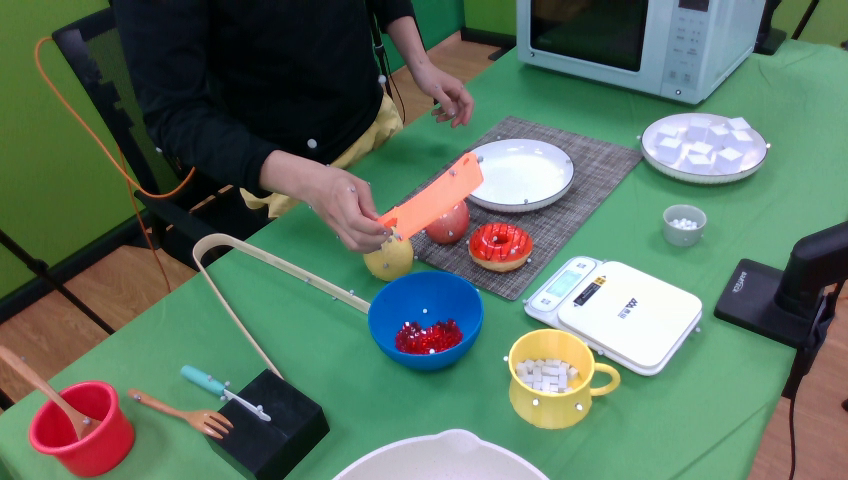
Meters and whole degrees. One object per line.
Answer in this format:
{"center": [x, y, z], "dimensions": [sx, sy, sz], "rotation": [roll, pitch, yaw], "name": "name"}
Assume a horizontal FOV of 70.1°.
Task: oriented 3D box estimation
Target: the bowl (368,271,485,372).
{"center": [0.007, 0.119, 0.791], "dimensions": [0.151, 0.077, 0.150], "rotation": [-5, 39, 4], "name": "bowl"}

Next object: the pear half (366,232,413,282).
{"center": [-0.048, 0.031, 0.893], "dimensions": [0.071, 0.088, 0.031], "rotation": [-16, 40, -13], "name": "pear half"}

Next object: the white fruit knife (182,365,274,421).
{"center": [-0.245, 0.188, 0.747], "dimensions": [0.205, 0.027, 0.016], "rotation": [9, 41, 41], "name": "white fruit knife"}

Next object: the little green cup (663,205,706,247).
{"center": [0.396, -0.020, 0.926], "dimensions": [0.061, 0.039, 0.061], "rotation": [-4, 40, 4], "name": "little green cup"}

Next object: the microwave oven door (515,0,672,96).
{"center": [0.343, -0.454, 1.259], "dimensions": [0.353, 0.245, 0.039], "rotation": [26, 51, 33], "name": "microwave oven door"}

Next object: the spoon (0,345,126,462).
{"center": [-0.434, 0.192, 0.720], "dimensions": [0.194, 0.021, 0.042], "rotation": [47, 53, -7], "name": "spoon"}

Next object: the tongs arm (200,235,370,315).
{"center": [-0.209, 0.062, 0.924], "dimensions": [0.381, 0.026, 0.051], "rotation": [23, 53, 32], "name": "tongs arm"}

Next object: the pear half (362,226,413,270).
{"center": [-0.059, 0.003, 0.913], "dimensions": [0.076, 0.110, 0.055], "rotation": [-14, 40, -12], "name": "pear half"}

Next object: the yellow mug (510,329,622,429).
{"center": [0.168, 0.164, 0.721], "dimensions": [0.130, 0.064, 0.099], "rotation": [0, 40, 8], "name": "yellow mug"}

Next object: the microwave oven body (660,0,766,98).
{"center": [0.472, -0.513, 1.317], "dimensions": [0.438, 0.261, 0.327], "rotation": [26, 51, 34], "name": "microwave oven body"}

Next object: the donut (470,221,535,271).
{"center": [0.119, 0.009, 0.923], "dimensions": [0.099, 0.048, 0.098], "rotation": [-3, 39, 3], "name": "donut"}

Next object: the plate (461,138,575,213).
{"center": [0.159, -0.111, 1.063], "dimensions": [0.209, 0.038, 0.208], "rotation": [-4, 40, 4], "name": "plate"}

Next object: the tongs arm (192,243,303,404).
{"center": [-0.268, 0.109, 0.883], "dimensions": [0.028, 0.028, 0.384], "rotation": [-35, 46, -18], "name": "tongs arm"}

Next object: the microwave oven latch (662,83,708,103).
{"center": [0.517, -0.296, 1.204], "dimensions": [0.078, 0.029, 0.030], "rotation": [27, 52, 35], "name": "microwave oven latch"}

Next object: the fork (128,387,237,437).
{"center": [-0.305, 0.207, 0.744], "dimensions": [0.206, 0.019, 0.028], "rotation": [3, 40, 35], "name": "fork"}

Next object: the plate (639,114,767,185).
{"center": [0.489, -0.157, 1.074], "dimensions": [0.207, 0.039, 0.206], "rotation": [-4, 40, 4], "name": "plate"}

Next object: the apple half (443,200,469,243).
{"center": [0.045, -0.038, 0.967], "dimensions": [0.053, 0.075, 0.080], "rotation": [-14, 37, -11], "name": "apple half"}

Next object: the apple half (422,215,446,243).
{"center": [0.009, -0.027, 0.959], "dimensions": [0.033, 0.081, 0.080], "rotation": [-15, 41, -11], "name": "apple half"}

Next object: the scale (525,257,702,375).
{"center": [0.254, 0.091, 0.821], "dimensions": [0.199, 0.032, 0.149], "rotation": [28, 51, 35], "name": "scale"}

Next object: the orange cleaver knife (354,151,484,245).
{"center": [-0.012, -0.031, 0.683], "dimensions": [0.210, 0.012, 0.077], "rotation": [-32, 35, 35], "name": "orange cleaver knife"}

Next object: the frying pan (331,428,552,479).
{"center": [-0.089, 0.306, 0.564], "dimensions": [0.487, 0.103, 0.306], "rotation": [10, 41, 7], "name": "frying pan"}
